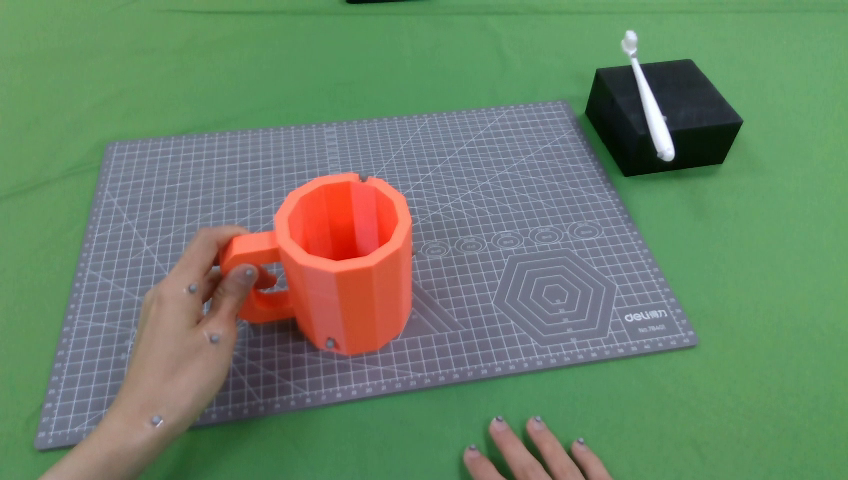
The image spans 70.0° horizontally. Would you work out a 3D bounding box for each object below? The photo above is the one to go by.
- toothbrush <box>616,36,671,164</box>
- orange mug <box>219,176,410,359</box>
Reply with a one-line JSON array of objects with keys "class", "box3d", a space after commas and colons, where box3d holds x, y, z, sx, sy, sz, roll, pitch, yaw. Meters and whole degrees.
[{"class": "toothbrush", "box3d": [0.199, -0.133, 0.550, 0.014, 0.017, 0.180, 4, 49, -3]}, {"class": "orange mug", "box3d": [-0.070, 0.022, 0.412, 0.126, 0.101, 0.082, -7, 49, -14]}]
